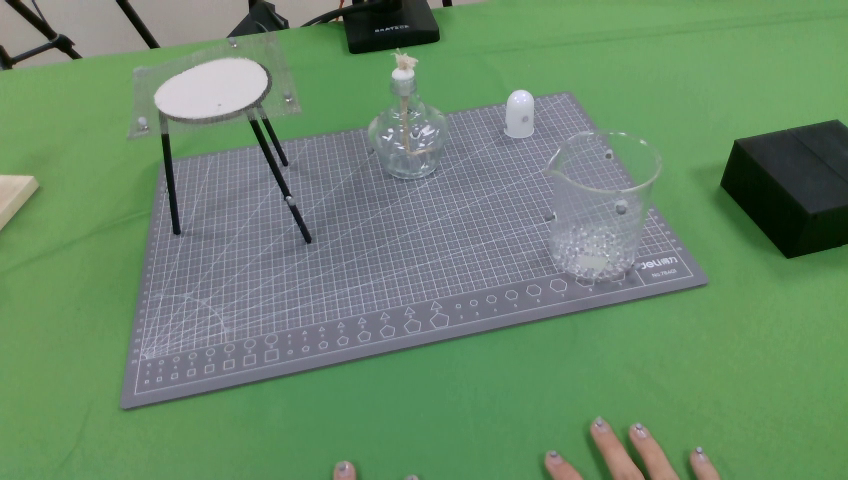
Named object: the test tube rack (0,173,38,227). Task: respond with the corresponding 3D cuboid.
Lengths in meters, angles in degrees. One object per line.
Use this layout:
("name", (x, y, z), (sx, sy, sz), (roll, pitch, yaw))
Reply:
("test tube rack", (-0.446, -0.004, 0.513), (0.066, 0.086, 0.240), (3, 46, 8))

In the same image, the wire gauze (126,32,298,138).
("wire gauze", (-0.169, -0.122, 0.473), (0.125, 0.011, 0.120), (-16, 46, -9))

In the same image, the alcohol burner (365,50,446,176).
("alcohol burner", (-0.019, -0.120, 0.567), (0.078, 0.120, 0.077), (-3, 43, 3))

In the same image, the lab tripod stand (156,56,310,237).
("lab tripod stand", (-0.164, -0.075, 0.521), (0.148, 0.133, 0.147), (-3, 47, 3))

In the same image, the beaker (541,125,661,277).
("beaker", (0.131, -0.026, 0.470), (0.084, 0.101, 0.073), (-3, 45, 4))

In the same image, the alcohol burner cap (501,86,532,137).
("alcohol burner cap", (0.095, -0.134, 0.621), (0.034, 0.048, 0.033), (-3, 45, 3))
